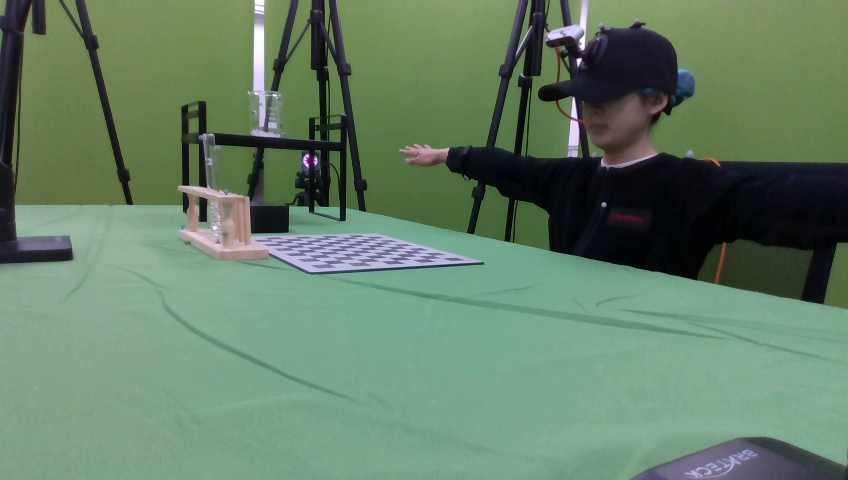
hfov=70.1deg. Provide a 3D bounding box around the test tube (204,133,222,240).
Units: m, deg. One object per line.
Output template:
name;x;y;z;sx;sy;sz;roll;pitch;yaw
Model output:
test tube;-0.295;-0.075;0.849;0.017;0.150;0.017;-3;6;1

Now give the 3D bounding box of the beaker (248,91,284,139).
beaker;-0.353;-0.277;1.343;0.073;0.100;0.084;8;9;39

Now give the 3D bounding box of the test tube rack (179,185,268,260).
test tube rack;-0.303;-0.031;0.898;0.067;0.085;0.241;-2;9;-33
